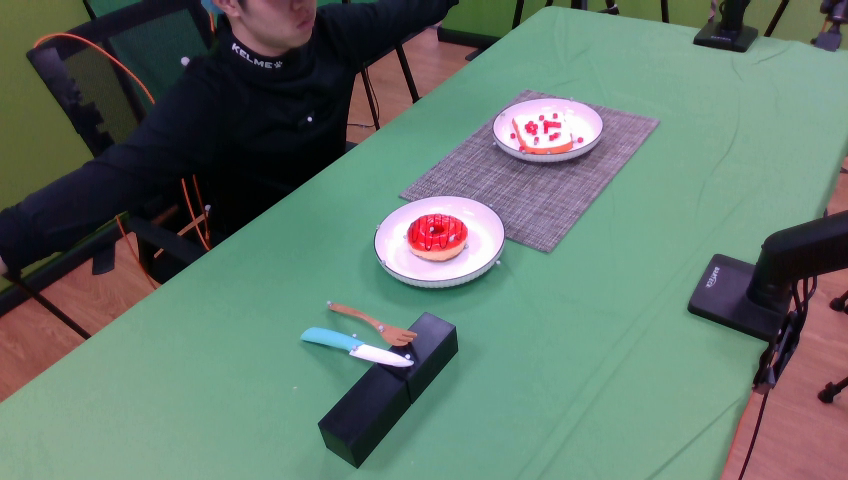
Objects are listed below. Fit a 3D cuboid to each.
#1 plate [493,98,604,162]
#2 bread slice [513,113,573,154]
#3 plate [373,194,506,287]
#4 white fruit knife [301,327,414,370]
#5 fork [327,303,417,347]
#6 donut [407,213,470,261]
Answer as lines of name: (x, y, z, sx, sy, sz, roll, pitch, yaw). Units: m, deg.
plate: (0.237, -0.206, 1.158, 0.209, 0.038, 0.208, -4, 40, 4)
bread slice: (0.233, -0.205, 1.160, 0.105, 0.019, 0.131, -7, 40, 1)
plate: (0.025, 0.003, 0.952, 0.207, 0.039, 0.206, -4, 41, 4)
white fruit knife: (-0.088, 0.140, 0.781, 0.205, 0.016, 0.027, 7, 41, 42)
fork: (-0.077, 0.110, 0.811, 0.028, 0.019, 0.205, -41, 33, -26)
donut: (0.022, -0.006, 0.944, 0.099, 0.048, 0.098, -4, 38, 3)
